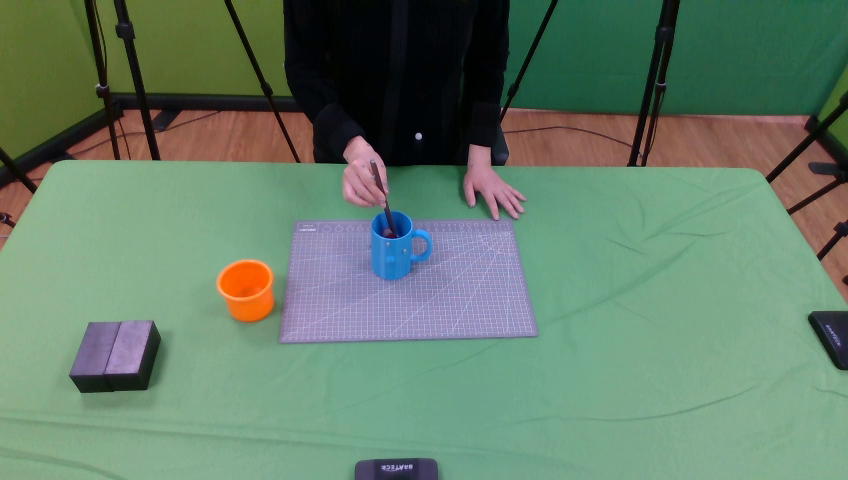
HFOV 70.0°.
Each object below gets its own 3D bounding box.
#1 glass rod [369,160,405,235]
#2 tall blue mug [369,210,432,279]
[{"bbox_3d":[-0.062,-0.069,1.064,0.008,0.201,0.008,-9,50,12],"label":"glass rod"},{"bbox_3d":[-0.048,0.005,1.125,0.107,0.108,0.077,-19,50,-21],"label":"tall blue mug"}]
